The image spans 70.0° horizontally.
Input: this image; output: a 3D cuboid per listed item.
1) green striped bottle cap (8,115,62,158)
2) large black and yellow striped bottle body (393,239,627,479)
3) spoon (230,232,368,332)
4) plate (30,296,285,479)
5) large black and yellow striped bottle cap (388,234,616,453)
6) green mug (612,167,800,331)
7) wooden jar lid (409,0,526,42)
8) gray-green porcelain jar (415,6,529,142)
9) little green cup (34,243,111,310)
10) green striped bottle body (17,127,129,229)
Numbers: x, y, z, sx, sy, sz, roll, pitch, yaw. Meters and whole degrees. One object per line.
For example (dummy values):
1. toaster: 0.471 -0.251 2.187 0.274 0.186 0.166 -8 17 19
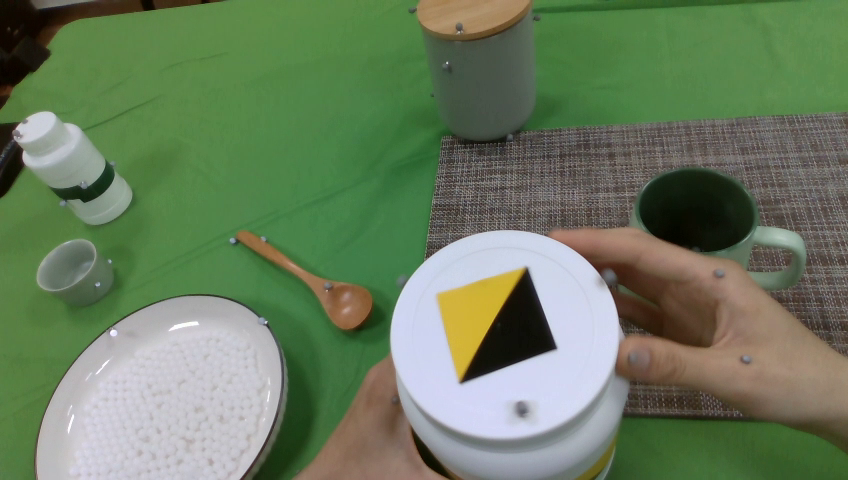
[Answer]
1. green striped bottle cap: -0.381 -0.102 0.594 0.044 0.020 0.044 -4 55 7
2. large black and yellow striped bottle body: 0.055 0.092 0.377 0.130 0.186 0.129 -6 57 9
3. spoon: -0.123 0.031 0.566 0.192 0.022 0.041 29 81 28
4. plate: -0.209 0.143 0.495 0.209 0.038 0.207 -6 53 8
5. large black and yellow striped bottle cap: 0.038 0.048 0.308 0.115 0.019 0.114 -6 56 10
6. green mug: 0.207 0.011 0.451 0.125 0.106 0.092 7 56 17
7. wooden jar lid: 0.041 -0.212 0.560 0.108 0.021 0.107 -8 51 11
8. gray-green porcelain jar: 0.052 -0.171 0.608 0.106 0.128 0.105 -6 49 7
9. little green cup: -0.346 0.038 0.601 0.061 0.039 0.061 -6 52 9
10. green striped bottle body: -0.371 -0.071 0.634 0.063 0.120 0.062 -6 53 9
